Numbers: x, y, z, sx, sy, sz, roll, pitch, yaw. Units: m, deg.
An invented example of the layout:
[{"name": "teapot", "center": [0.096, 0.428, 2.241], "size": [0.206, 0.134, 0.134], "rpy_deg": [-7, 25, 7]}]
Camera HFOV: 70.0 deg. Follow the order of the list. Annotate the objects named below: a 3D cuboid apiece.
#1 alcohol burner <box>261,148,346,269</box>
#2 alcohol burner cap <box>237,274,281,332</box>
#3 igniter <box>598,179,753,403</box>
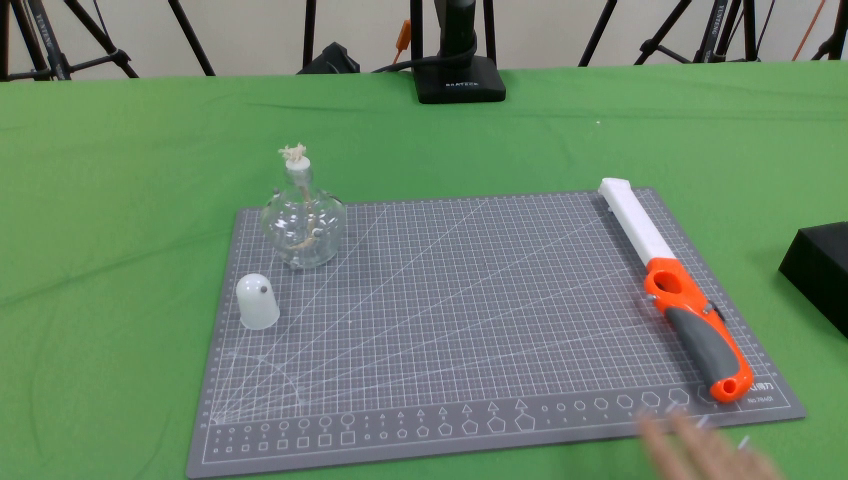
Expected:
[{"name": "alcohol burner", "center": [-0.109, -0.032, 0.543], "size": [0.078, 0.120, 0.077], "rpy_deg": [2, 42, -2]}, {"name": "alcohol burner cap", "center": [-0.138, 0.049, 0.501], "size": [0.034, 0.048, 0.033], "rpy_deg": [2, 40, -1]}, {"name": "igniter", "center": [0.218, 0.030, 0.548], "size": [0.057, 0.025, 0.273], "rpy_deg": [5, 40, -13]}]
